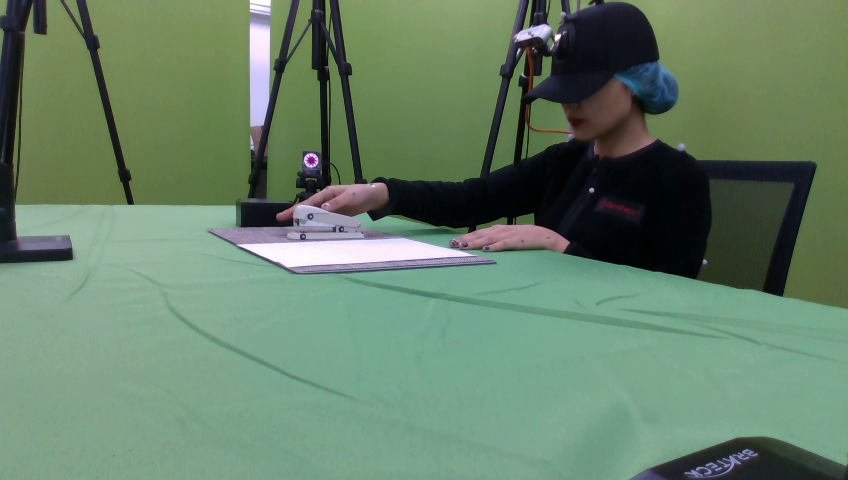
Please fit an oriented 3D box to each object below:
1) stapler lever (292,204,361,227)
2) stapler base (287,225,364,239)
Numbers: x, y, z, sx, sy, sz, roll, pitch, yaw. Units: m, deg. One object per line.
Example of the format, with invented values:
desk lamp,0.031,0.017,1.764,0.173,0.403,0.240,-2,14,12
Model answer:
stapler lever,-0.166,-0.041,1.037,0.119,0.040,0.026,-1,11,-28
stapler base,-0.169,-0.016,1.039,0.131,0.024,0.041,0,11,-29
